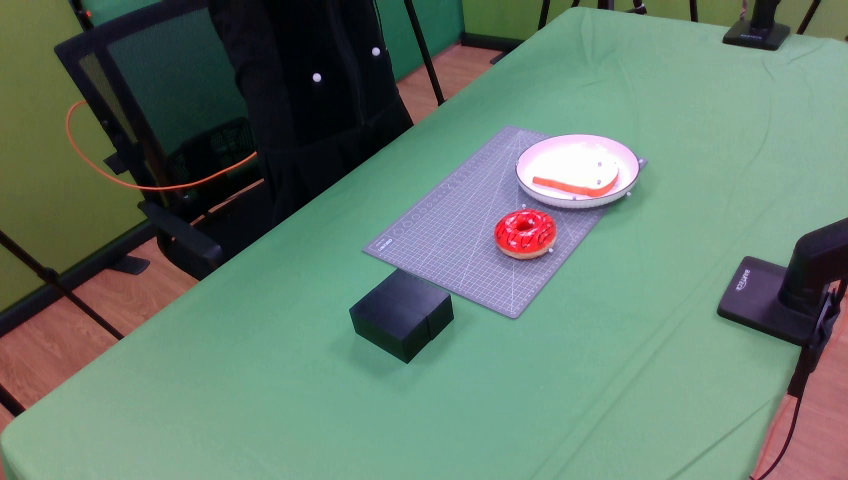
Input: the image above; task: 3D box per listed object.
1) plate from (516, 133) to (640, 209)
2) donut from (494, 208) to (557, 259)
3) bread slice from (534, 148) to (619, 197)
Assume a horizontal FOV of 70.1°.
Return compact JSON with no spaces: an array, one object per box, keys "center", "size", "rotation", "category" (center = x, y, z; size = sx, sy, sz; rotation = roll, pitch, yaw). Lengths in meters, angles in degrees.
[{"center":[0.266,-0.117,1.054],"size":[0.209,0.038,0.208],"rotation":[-5,40,5],"category":"plate"},{"center":[0.159,-0.011,0.945],"size":[0.099,0.048,0.098],"rotation":[-7,41,6],"category":"donut"},{"center":[0.274,-0.119,1.057],"size":[0.130,0.019,0.105],"rotation":[19,48,30],"category":"bread slice"}]
